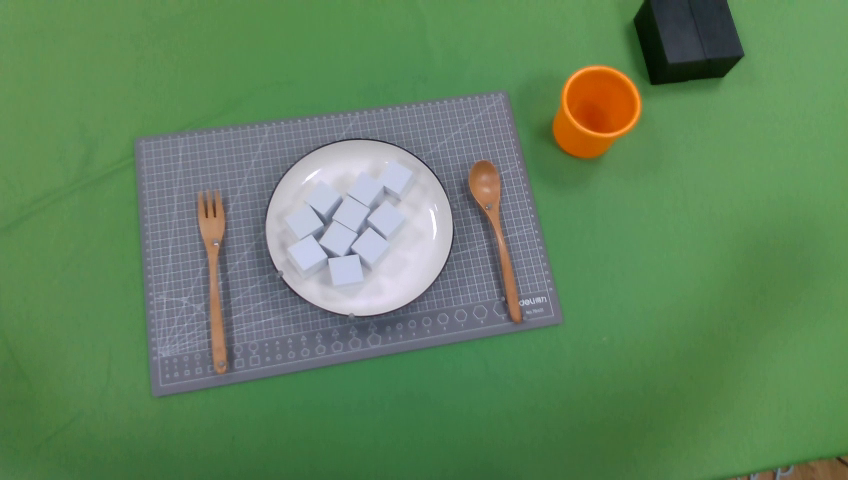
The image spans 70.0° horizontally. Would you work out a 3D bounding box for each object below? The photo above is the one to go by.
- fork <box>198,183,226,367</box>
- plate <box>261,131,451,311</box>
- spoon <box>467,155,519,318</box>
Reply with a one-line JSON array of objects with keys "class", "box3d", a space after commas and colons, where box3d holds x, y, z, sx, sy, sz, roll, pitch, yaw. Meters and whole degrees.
[{"class": "fork", "box3d": [-0.230, 0.035, 0.664, 0.028, 0.019, 0.206, -6, 73, -10]}, {"class": "plate", "box3d": [-0.075, -0.020, 0.681, 0.208, 0.039, 0.206, 1, 75, -4]}, {"class": "spoon", "box3d": [0.084, -0.006, 0.696, 0.042, 0.021, 0.192, -5, 74, -25]}]
